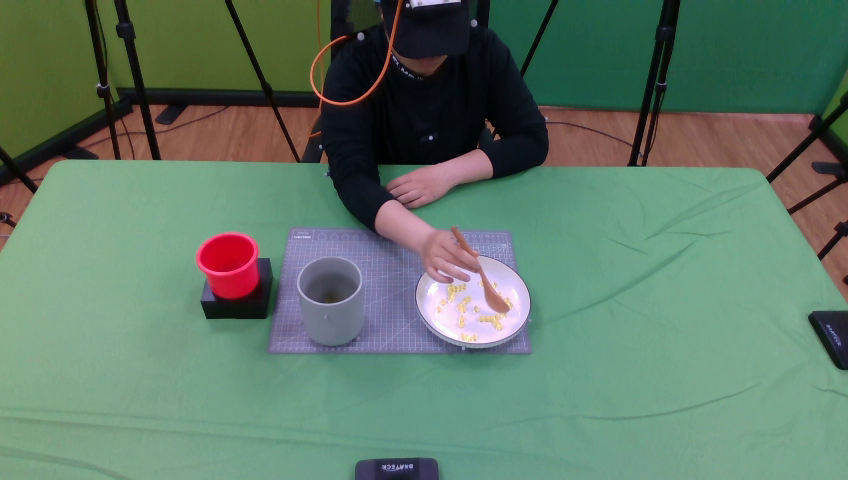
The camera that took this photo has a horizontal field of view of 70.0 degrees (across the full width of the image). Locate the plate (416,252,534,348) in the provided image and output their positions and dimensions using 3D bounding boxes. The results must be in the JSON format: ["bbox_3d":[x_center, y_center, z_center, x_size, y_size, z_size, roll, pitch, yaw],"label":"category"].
[{"bbox_3d":[0.090,0.109,1.084,0.208,0.039,0.206,2,46,-2],"label":"plate"}]

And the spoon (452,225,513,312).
[{"bbox_3d":[0.096,0.052,1.026,0.041,0.194,0.021,-8,29,49],"label":"spoon"}]

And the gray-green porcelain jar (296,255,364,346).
[{"bbox_3d":[-0.153,0.106,1.008,0.106,0.127,0.105,2,46,-2],"label":"gray-green porcelain jar"}]
